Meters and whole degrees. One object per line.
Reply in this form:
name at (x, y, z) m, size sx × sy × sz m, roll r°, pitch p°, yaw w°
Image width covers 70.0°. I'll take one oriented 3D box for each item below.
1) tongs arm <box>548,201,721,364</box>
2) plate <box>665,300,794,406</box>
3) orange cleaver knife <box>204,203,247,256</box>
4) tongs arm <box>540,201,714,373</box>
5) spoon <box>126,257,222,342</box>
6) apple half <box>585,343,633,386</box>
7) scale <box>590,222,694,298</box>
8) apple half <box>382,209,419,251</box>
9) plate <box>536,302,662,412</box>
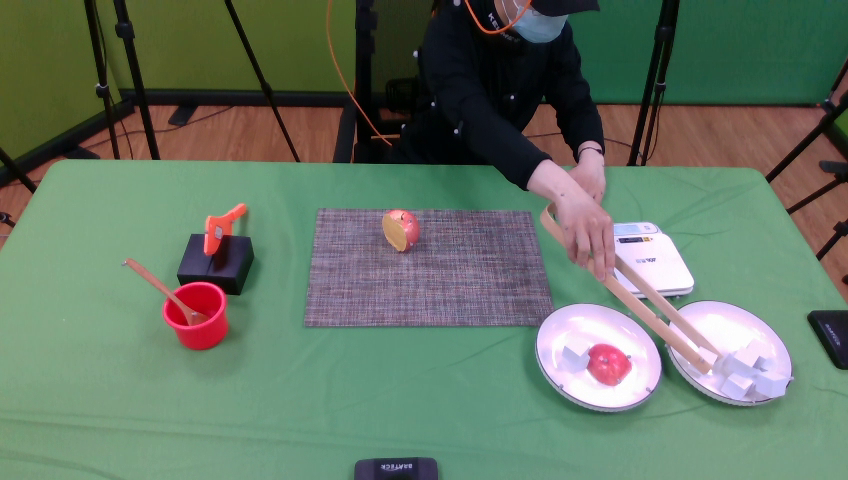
tongs arm at (0.359, 0.067, 1.062) m, size 0.028 × 0.028 × 0.386 m, roll -30°, pitch 68°, yaw -37°
plate at (0.513, 0.194, 1.034) m, size 0.208 × 0.039 × 0.206 m, roll 2°, pitch 46°, yaw -2°
orange cleaver knife at (-0.374, -0.024, 1.146) m, size 0.012 × 0.077 × 0.211 m, roll 4°, pitch 14°, yaw 1°
tongs arm at (0.344, 0.075, 1.047) m, size 0.383 × 0.026 × 0.051 m, roll 44°, pitch 47°, yaw 14°
spoon at (-0.408, 0.096, 0.990) m, size 0.194 × 0.021 × 0.041 m, roll 50°, pitch 53°, yaw -18°
apple half at (0.309, 0.198, 1.008) m, size 0.081 × 0.033 × 0.081 m, roll 4°, pitch 48°, yaw -4°
scale at (0.424, 0.031, 1.189) m, size 0.149 × 0.032 × 0.199 m, roll -3°, pitch 46°, yaw -7°
apple half at (-0.039, -0.022, 1.175) m, size 0.053 × 0.075 × 0.080 m, roll -27°, pitch 49°, yaw -31°
plate at (0.288, 0.196, 1.016) m, size 0.209 × 0.038 × 0.208 m, roll 2°, pitch 47°, yaw -2°
